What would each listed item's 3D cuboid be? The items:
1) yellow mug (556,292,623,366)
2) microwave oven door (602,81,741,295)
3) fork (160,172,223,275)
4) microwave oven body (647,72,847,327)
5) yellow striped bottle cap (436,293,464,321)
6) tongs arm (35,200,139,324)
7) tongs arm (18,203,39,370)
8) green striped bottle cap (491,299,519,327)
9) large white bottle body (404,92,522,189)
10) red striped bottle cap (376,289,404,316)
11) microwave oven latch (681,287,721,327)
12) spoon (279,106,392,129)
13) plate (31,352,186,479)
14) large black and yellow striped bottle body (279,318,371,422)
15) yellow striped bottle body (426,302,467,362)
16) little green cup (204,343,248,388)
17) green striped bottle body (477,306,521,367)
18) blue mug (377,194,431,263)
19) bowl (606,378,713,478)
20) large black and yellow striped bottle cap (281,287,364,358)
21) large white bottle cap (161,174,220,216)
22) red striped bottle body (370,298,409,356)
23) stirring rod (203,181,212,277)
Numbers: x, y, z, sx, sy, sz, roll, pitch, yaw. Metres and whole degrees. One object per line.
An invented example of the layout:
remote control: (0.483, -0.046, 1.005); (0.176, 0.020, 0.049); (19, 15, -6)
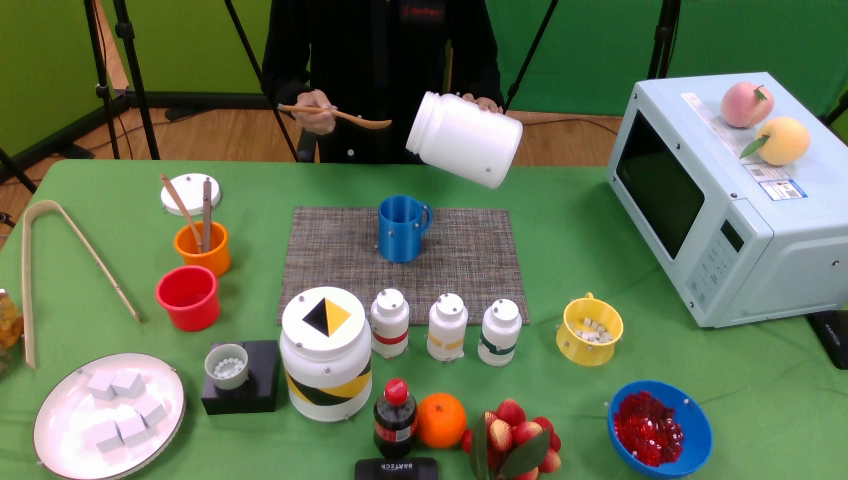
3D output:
yellow mug: (0.285, 0.145, 1.051); (0.100, 0.064, 0.130); (7, 45, 3)
microwave oven door: (0.456, -0.107, 1.162); (0.039, 0.245, 0.353); (-7, 47, -11)
fork: (-0.425, -0.030, 1.103); (0.028, 0.018, 0.207); (-29, 99, -19)
microwave oven body: (0.607, -0.089, 1.164); (0.326, 0.261, 0.438); (-7, 46, -10)
yellow striped bottle cap: (0.041, 0.106, 0.959); (0.044, 0.019, 0.044); (-1, 49, 1)
tongs arm: (-0.622, 0.034, 1.105); (0.051, 0.026, 0.382); (-32, 55, -25)
tongs arm: (-0.698, 0.069, 1.069); (0.028, 0.028, 0.385); (-20, 50, -13)
green striped bottle cap: (0.128, 0.115, 0.958); (0.044, 0.020, 0.044); (1, 47, -1)
large white bottle body: (0.067, -0.182, 1.086); (0.185, 0.131, 0.130); (21, 47, -3)
red striped bottle cap: (-0.054, 0.098, 0.958); (0.044, 0.018, 0.044); (0, 48, 1)
microwave oven latch: (0.494, 0.119, 1.087); (0.030, 0.029, 0.078); (-6, 46, -9)
spoon: (-0.148, -0.211, 1.029); (0.194, 0.021, 0.041); (8, 3, -21)
plate: (-0.459, 0.262, 0.898); (0.209, 0.038, 0.208); (2, 46, -2)
large black and yellow striped bottle body: (-0.145, 0.173, 0.907); (0.131, 0.185, 0.130); (2, 46, -2)
yellow striped bottle body: (0.037, 0.142, 0.996); (0.063, 0.121, 0.062); (2, 46, -2)
little green cup: (-0.294, 0.190, 0.909); (0.061, 0.039, 0.061); (1, 48, -1)
green striped bottle body: (0.124, 0.151, 0.995); (0.063, 0.120, 0.063); (2, 46, -2)
blue mug: (-0.035, -0.027, 1.159); (0.116, 0.106, 0.082); (-24, 53, -25)
bowl: (0.340, 0.292, 0.906); (0.151, 0.077, 0.150); (2, 46, -2)
large black and yellow striped bottle cap: (-0.141, 0.112, 0.847); (0.115, 0.019, 0.114); (5, 45, -4)
large white bottle cap: (-0.483, -0.095, 1.253); (0.115, 0.018, 0.114); (2, 47, -2)
red striped bottle body: (-0.058, 0.134, 0.997); (0.063, 0.120, 0.062); (3, 47, -4)
stirring rod: (-0.396, -0.021, 1.107); (0.014, 0.006, 0.176); (-1, 89, -1)
